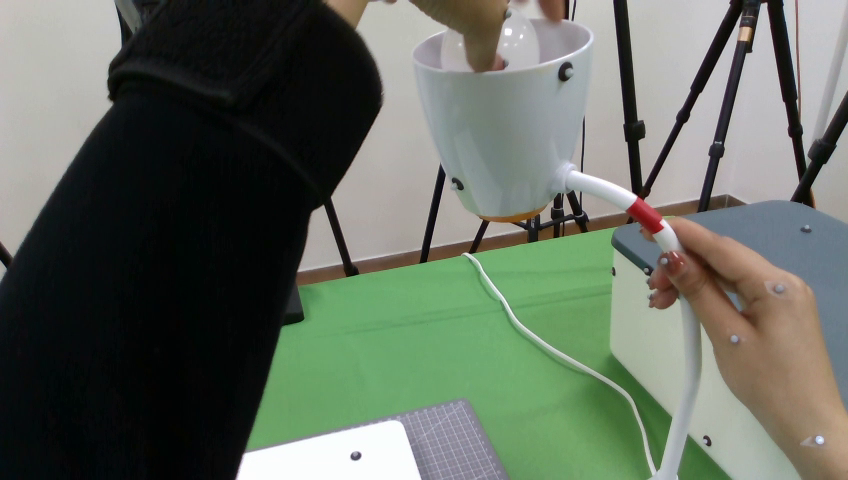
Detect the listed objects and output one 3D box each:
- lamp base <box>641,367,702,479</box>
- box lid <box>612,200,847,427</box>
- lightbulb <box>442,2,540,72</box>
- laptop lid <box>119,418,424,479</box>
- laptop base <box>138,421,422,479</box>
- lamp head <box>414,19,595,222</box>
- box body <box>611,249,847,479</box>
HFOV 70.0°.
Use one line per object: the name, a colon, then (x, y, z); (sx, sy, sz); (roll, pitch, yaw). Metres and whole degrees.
lamp base: (0.168, 0.192, 0.435); (0.160, 0.181, 0.179); (9, 27, 20)
box lid: (0.375, 0.048, 0.557); (0.264, 0.015, 0.367); (-9, 28, -15)
lightbulb: (0.046, -0.095, 0.385); (0.059, 0.109, 0.059); (-9, 36, 7)
laptop lid: (-0.161, 0.261, 0.483); (0.357, 0.013, 0.239); (-8, 29, -11)
laptop base: (-0.161, 0.270, 0.490); (0.355, 0.023, 0.233); (-9, 31, -13)
lamp head: (0.058, -0.073, 0.399); (0.112, 0.124, 0.111); (-10, 29, 6)
box body: (0.379, 0.116, 0.589); (0.255, 0.161, 0.360); (-10, 28, -15)
